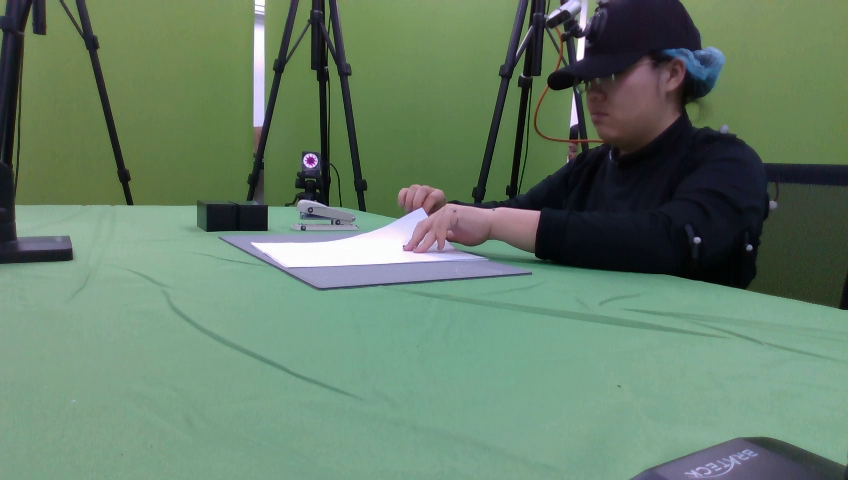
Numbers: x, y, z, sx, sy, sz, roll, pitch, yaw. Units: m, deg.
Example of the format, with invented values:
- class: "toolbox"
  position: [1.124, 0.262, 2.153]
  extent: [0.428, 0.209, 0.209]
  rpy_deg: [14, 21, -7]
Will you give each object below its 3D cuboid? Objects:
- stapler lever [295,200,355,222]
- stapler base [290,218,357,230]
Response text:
- class: "stapler lever"
  position: [-0.196, -0.058, 1.199]
  extent: [0.118, 0.040, 0.026]
  rpy_deg: [2, 10, -25]
- class: "stapler base"
  position: [-0.199, -0.033, 1.201]
  extent: [0.131, 0.024, 0.041]
  rpy_deg: [2, 10, -25]
